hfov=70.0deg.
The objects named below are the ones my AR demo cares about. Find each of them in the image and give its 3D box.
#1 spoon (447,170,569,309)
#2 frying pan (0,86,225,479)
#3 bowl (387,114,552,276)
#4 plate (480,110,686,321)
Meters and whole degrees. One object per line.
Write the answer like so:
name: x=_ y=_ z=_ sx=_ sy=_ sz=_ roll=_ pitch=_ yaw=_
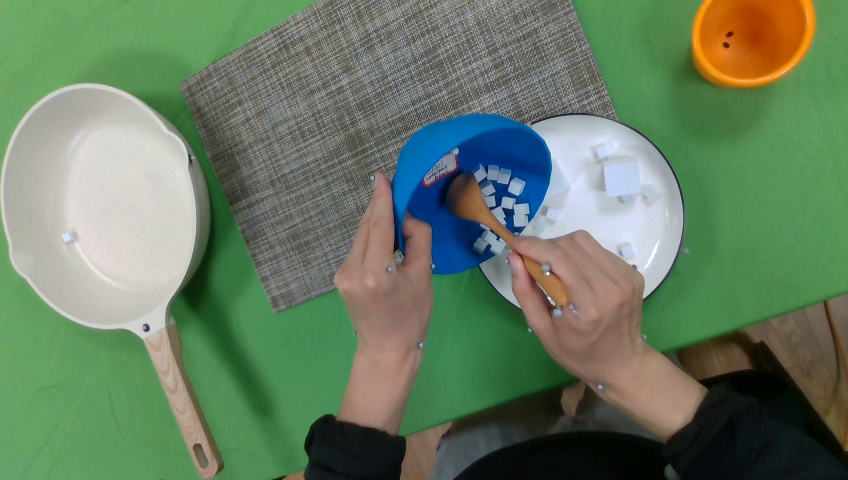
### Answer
spoon: x=0.061 y=-0.006 z=0.471 sx=0.042 sy=0.022 sz=0.191 roll=-59 pitch=37 yaw=16
frying pan: x=-0.345 y=0.056 z=0.733 sx=0.306 sy=0.103 sz=0.486 roll=-27 pitch=81 yaw=19
bowl: x=0.025 y=-0.051 z=0.518 sx=0.151 sy=0.153 sz=0.076 roll=-52 pitch=51 yaw=17
plate: x=0.148 y=-0.023 z=0.605 sx=0.207 sy=0.039 sz=0.208 roll=3 pitch=101 yaw=16
